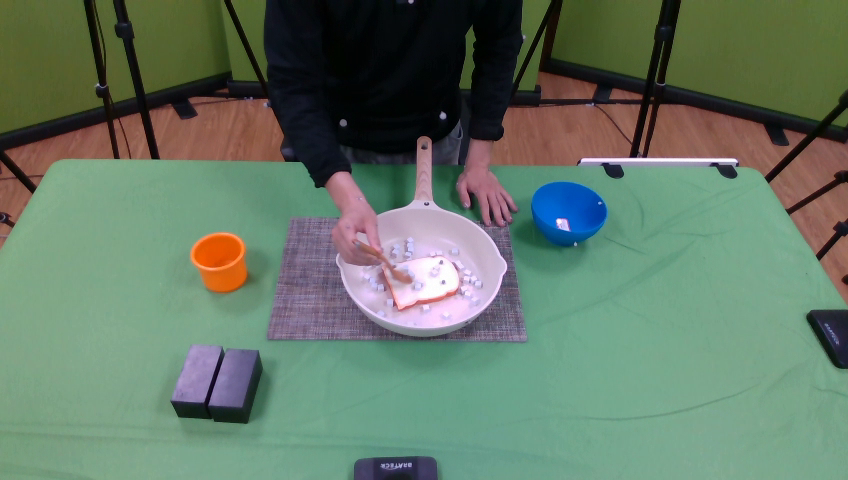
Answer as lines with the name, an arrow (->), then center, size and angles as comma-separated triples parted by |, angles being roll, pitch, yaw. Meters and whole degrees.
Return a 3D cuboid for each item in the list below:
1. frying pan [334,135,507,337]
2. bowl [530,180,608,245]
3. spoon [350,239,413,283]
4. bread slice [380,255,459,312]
frying pan -> -0.004, -0.026, 1.160 | 0.307, 0.103, 0.485 | 4, 55, -2
bowl -> 0.284, -0.044, 1.222 | 0.151, 0.077, 0.150 | 2, 46, -2
spoon -> -0.069, 0.034, 1.013 | 0.021, 0.195, 0.041 | -44, 55, 0
bread slice -> -0.004, 0.075, 1.118 | 0.134, 0.018, 0.106 | -16, 49, -17
